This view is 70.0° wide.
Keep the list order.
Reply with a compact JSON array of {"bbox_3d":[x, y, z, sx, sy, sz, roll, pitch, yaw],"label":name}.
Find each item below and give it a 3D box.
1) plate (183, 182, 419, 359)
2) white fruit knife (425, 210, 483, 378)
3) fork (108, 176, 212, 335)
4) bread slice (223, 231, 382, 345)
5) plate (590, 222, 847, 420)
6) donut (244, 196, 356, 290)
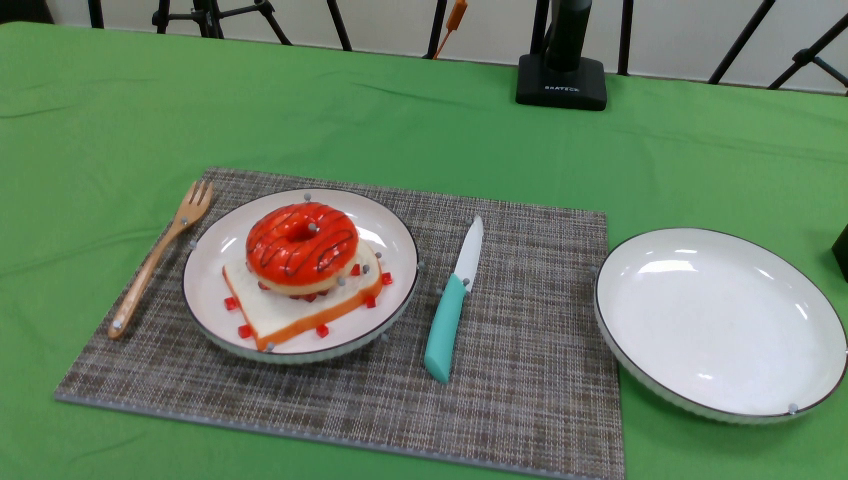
[{"bbox_3d":[-0.110,0.026,0.557,0.209,0.038,0.207,1,45,0],"label":"plate"},{"bbox_3d":[0.032,0.038,0.567,0.027,0.016,0.206,31,44,-11],"label":"white fruit knife"},{"bbox_3d":[-0.251,0.006,0.585,0.028,0.019,0.205,11,43,-1],"label":"fork"},{"bbox_3d":[-0.107,0.031,0.556,0.132,0.019,0.103,-24,51,-22],"label":"bread slice"},{"bbox_3d":[0.249,0.068,0.532,0.208,0.039,0.205,1,45,-1],"label":"plate"},{"bbox_3d":[-0.108,0.001,0.532,0.099,0.048,0.098,1,45,-1],"label":"donut"}]
